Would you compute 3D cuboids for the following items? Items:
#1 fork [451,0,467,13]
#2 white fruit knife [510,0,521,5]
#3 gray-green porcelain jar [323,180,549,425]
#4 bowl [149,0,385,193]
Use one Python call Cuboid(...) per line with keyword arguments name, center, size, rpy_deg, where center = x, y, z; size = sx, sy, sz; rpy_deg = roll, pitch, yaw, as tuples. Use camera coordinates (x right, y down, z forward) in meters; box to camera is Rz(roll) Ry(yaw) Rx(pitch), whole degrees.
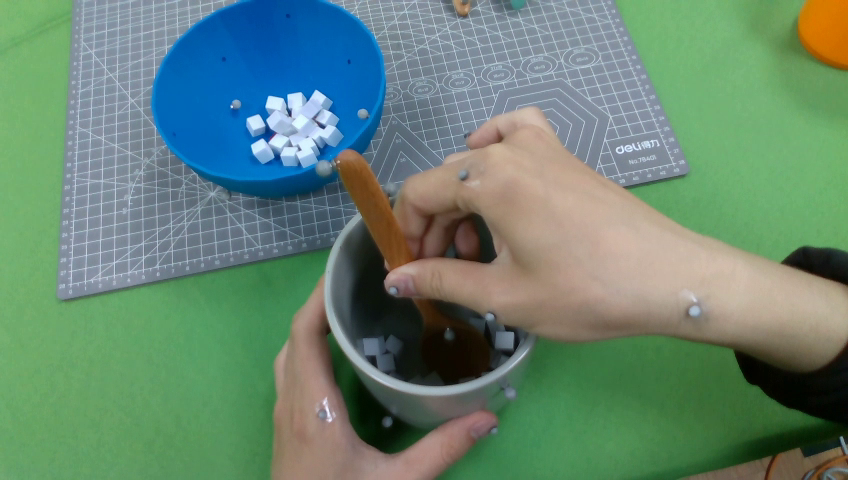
Cuboid(name="fork", center=(0.005, -0.288, 0.505), size=(0.028, 0.018, 0.206), rpy_deg=(-14, 84, -9))
Cuboid(name="white fruit knife", center=(0.054, -0.296, 0.508), size=(0.016, 0.027, 0.206), rpy_deg=(-12, 79, -4))
Cuboid(name="gray-green porcelain jar", center=(0.008, 0.043, 0.334), size=(0.106, 0.127, 0.105), rpy_deg=(-1, 65, 3))
Cuboid(name="bowl", center=(-0.098, -0.088, 0.420), size=(0.151, 0.077, 0.150), rpy_deg=(-1, 65, 2))
